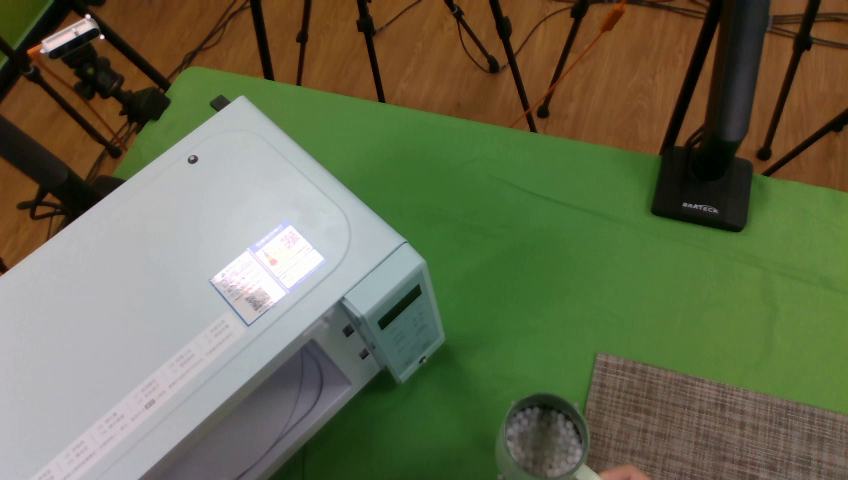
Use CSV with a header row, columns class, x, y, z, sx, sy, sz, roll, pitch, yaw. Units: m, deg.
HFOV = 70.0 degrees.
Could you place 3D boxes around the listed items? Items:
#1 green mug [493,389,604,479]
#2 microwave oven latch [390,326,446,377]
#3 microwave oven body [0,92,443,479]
class,x,y,z,sx,sy,sz,roll,pitch,yaw
green mug,0.126,0.207,0.588,0.124,0.106,0.092,37,72,21
microwave oven latch,-0.008,0.130,0.745,0.079,0.030,0.030,-41,66,-13
microwave oven body,-0.249,0.113,0.674,0.441,0.262,0.323,-43,66,-14
